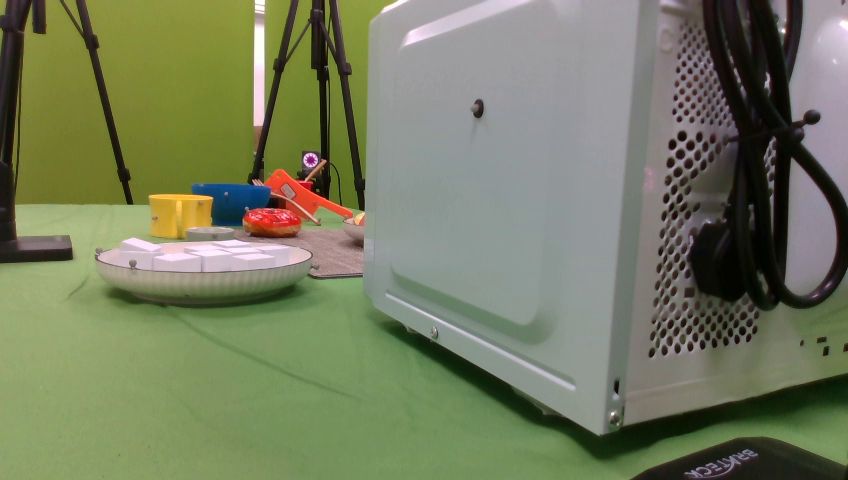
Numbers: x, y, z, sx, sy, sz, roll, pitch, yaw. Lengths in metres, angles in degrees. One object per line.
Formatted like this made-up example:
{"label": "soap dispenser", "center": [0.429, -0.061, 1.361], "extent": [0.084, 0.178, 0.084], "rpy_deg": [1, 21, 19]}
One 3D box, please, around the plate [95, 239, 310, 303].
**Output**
{"label": "plate", "center": [-0.224, 0.031, 0.629], "extent": [0.208, 0.039, 0.207], "rpy_deg": [2, 7, 0]}

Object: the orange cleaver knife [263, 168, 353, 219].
{"label": "orange cleaver knife", "center": [-0.262, -0.088, 1.353], "extent": [0.211, 0.077, 0.012], "rpy_deg": [28, 13, -1]}

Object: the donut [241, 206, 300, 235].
{"label": "donut", "center": [-0.263, -0.032, 1.039], "extent": [0.099, 0.048, 0.099], "rpy_deg": [4, 9, 0]}

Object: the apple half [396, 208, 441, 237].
{"label": "apple half", "center": [-0.008, -0.036, 1.053], "extent": [0.081, 0.033, 0.081], "rpy_deg": [12, 27, -6]}

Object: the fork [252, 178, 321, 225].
{"label": "fork", "center": [-0.295, -0.084, 1.292], "extent": [0.206, 0.018, 0.028], "rpy_deg": [29, 10, 25]}

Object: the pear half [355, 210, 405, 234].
{"label": "pear half", "center": [-0.075, -0.035, 1.045], "extent": [0.088, 0.031, 0.070], "rpy_deg": [4, 27, -9]}

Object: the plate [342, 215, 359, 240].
{"label": "plate", "center": [-0.033, -0.015, 1.006], "extent": [0.209, 0.038, 0.209], "rpy_deg": [2, 8, 0]}

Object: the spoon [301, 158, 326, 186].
{"label": "spoon", "center": [-0.320, -0.160, 1.646], "extent": [0.041, 0.022, 0.194], "rpy_deg": [7, 53, 34]}

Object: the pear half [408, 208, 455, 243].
{"label": "pear half", "center": [0.018, -0.026, 1.000], "extent": [0.076, 0.056, 0.110], "rpy_deg": [9, 8, 19]}

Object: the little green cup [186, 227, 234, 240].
{"label": "little green cup", "center": [-0.284, 0.005, 0.805], "extent": [0.061, 0.038, 0.061], "rpy_deg": [2, 8, 0]}

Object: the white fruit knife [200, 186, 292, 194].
{"label": "white fruit knife", "center": [-0.399, -0.111, 1.368], "extent": [0.208, 0.016, 0.027], "rpy_deg": [-4, -19, -30]}

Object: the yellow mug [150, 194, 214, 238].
{"label": "yellow mug", "center": [-0.401, -0.040, 1.003], "extent": [0.100, 0.064, 0.130], "rpy_deg": [-1, 9, -20]}

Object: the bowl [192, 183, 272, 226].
{"label": "bowl", "center": [-0.381, -0.071, 1.202], "extent": [0.151, 0.077, 0.151], "rpy_deg": [3, 7, 0]}

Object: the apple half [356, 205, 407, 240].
{"label": "apple half", "center": [-0.065, -0.029, 0.970], "extent": [0.081, 0.053, 0.074], "rpy_deg": [3, 7, -27]}

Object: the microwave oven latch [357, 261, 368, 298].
{"label": "microwave oven latch", "center": [-0.019, 0.033, 0.530], "extent": [0.079, 0.029, 0.030], "rpy_deg": [-1, 7, -26]}

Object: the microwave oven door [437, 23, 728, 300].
{"label": "microwave oven door", "center": [0.181, -0.072, 0.621], "extent": [0.358, 0.243, 0.039], "rpy_deg": [-2, 8, -29]}

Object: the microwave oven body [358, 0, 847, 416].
{"label": "microwave oven body", "center": [0.211, -0.047, 0.474], "extent": [0.444, 0.260, 0.324], "rpy_deg": [-1, 7, -28]}
